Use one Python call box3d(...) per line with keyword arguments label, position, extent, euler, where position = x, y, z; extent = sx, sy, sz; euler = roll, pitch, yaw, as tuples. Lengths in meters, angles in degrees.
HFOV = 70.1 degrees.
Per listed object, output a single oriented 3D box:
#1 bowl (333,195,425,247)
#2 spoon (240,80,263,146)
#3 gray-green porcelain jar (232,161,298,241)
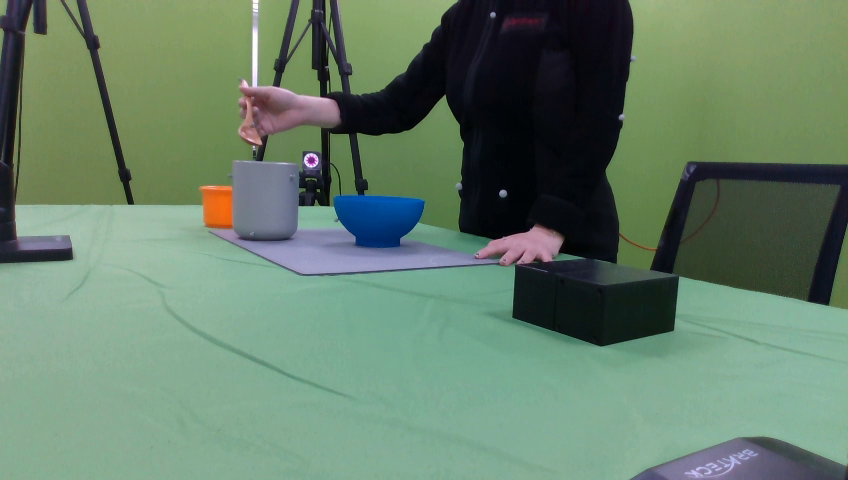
box3d(label="bowl", position=(-0.074, -0.031, 0.987), extent=(0.151, 0.077, 0.151), euler=(2, 7, 0))
box3d(label="spoon", position=(-0.310, -0.228, 1.074), extent=(0.042, 0.021, 0.193), euler=(15, 43, -34))
box3d(label="gray-green porcelain jar", position=(-0.262, -0.065, 0.999), extent=(0.106, 0.126, 0.106), euler=(3, 7, 0))
